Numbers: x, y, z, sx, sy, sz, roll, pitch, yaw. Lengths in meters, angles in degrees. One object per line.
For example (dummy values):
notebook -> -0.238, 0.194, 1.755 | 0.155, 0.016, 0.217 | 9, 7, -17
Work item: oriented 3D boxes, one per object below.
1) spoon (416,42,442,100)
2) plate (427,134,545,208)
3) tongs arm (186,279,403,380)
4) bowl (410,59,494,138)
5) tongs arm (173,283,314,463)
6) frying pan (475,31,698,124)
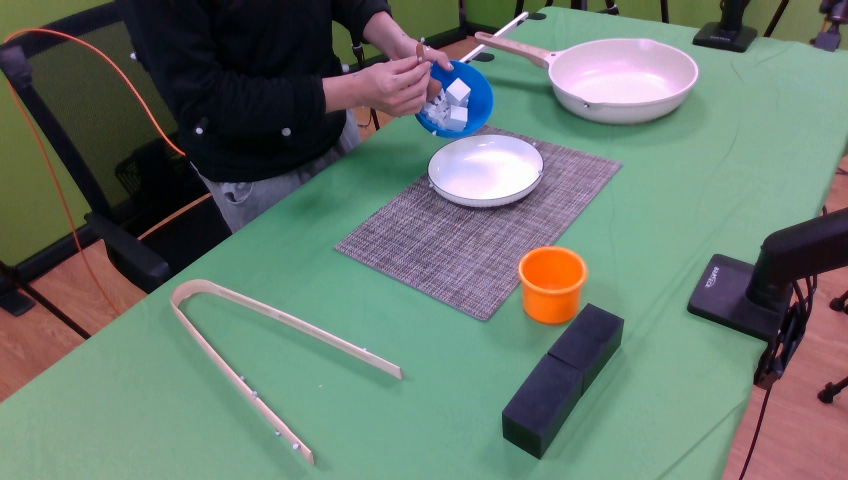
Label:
spoon -> 0.004, -0.278, 1.001 | 0.021, 0.194, 0.041 | 44, 89, 16
plate -> 0.110, -0.119, 1.073 | 0.207, 0.039, 0.206 | -4, 41, 4
tongs arm -> -0.193, 0.120, 0.853 | 0.385, 0.028, 0.028 | 18, 49, 27
bowl -> 0.044, -0.240, 1.084 | 0.152, 0.077, 0.151 | 3, 69, -8
tongs arm -> -0.246, 0.161, 0.806 | 0.381, 0.026, 0.051 | 29, 51, 36
frying pan -> 0.320, -0.371, 1.290 | 0.485, 0.103, 0.307 | 28, 50, 23
